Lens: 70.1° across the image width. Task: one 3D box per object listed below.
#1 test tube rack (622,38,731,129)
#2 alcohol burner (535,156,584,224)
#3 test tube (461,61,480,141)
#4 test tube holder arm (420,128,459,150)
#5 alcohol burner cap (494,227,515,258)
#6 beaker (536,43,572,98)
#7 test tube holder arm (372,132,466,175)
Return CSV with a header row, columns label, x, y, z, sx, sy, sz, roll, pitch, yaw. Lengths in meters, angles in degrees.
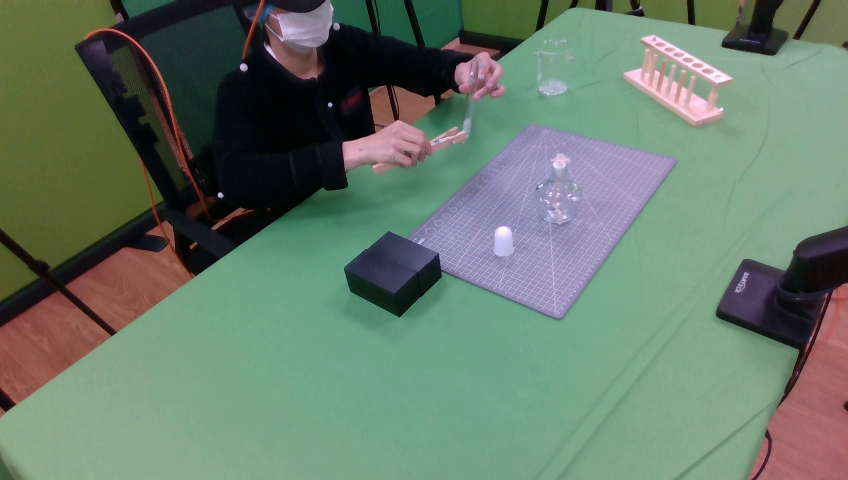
label,x,y,z,sx,sy,sz,roll,pitch,yaw
test tube rack,0.506,-0.325,1.234,0.067,0.085,0.240,-18,41,-11
alcohol burner,0.217,-0.085,0.967,0.078,0.119,0.077,-3,41,3
test tube,0.077,-0.233,1.030,0.017,0.150,0.017,4,43,-3
test tube holder arm,0.027,-0.170,1.049,0.088,0.015,0.010,-35,45,-29
alcohol burner cap,0.124,0.001,0.936,0.034,0.048,0.033,-4,40,4
beaker,0.280,-0.368,1.311,0.074,0.101,0.084,4,41,14
test tube holder arm,-0.006,-0.148,1.029,0.179,0.015,0.013,-24,39,-18
